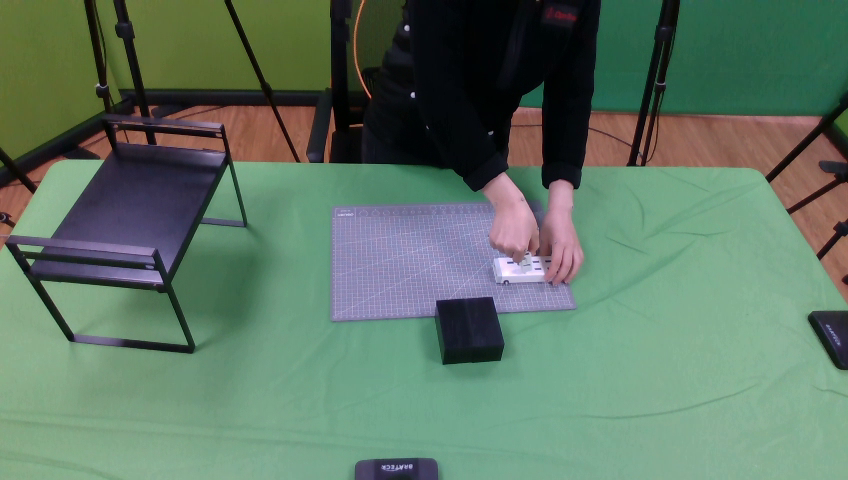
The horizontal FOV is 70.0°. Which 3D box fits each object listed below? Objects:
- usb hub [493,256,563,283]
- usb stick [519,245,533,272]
[{"bbox_3d":[0.197,0.056,1.150,0.125,0.025,0.049,-2,44,-4],"label":"usb hub"},{"bbox_3d":[0.187,0.039,1.113,0.021,0.059,0.027,-12,51,0],"label":"usb stick"}]
